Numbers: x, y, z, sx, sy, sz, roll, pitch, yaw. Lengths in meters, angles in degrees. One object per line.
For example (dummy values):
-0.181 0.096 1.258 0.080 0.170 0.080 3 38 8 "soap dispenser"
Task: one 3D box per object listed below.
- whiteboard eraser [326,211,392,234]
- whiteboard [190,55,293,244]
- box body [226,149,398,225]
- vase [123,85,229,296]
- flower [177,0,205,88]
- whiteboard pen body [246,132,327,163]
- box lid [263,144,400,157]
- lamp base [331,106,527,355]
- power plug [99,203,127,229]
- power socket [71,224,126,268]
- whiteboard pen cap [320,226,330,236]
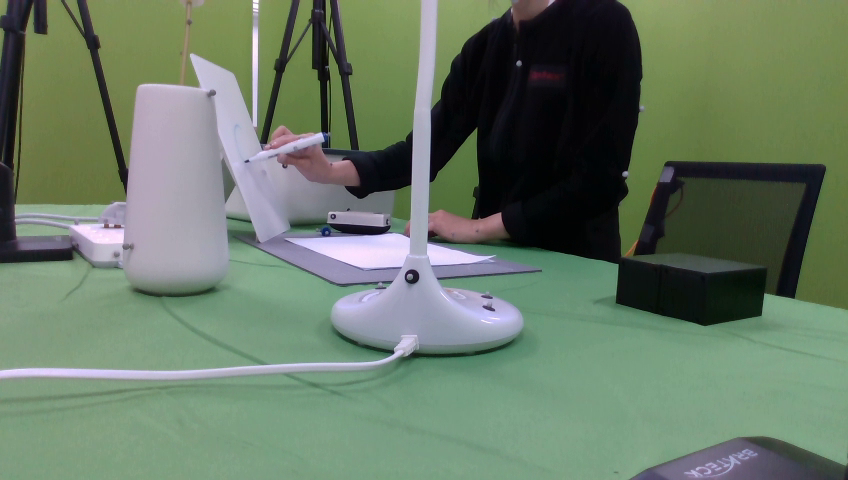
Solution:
-0.121 -0.033 1.131 0.112 0.042 0.056 4 8 13 "whiteboard eraser"
-0.362 -0.129 1.029 0.144 0.305 0.217 -18 7 3 "whiteboard"
-0.265 -0.129 1.380 0.253 0.160 0.366 8 9 39 "box body"
-0.244 -0.047 0.598 0.098 0.200 0.098 3 8 0 "vase"
-0.243 -0.131 0.609 0.044 0.361 0.038 -5 -12 12 "flower"
-0.228 -0.151 1.004 0.141 0.017 0.017 -21 13 -12 "whiteboard pen body"
-0.263 -0.203 1.369 0.262 0.015 0.373 9 10 39 "box lid"
0.006 -0.012 0.478 0.161 0.180 0.179 2 10 2 "lamp base"
-0.415 -0.026 0.848 0.073 0.052 0.035 6 5 -28 "power plug"
-0.409 0.004 0.793 0.072 0.032 0.225 -2 8 -37 "power socket"
-0.176 -0.016 1.075 0.018 0.018 0.033 1 5 -13 "whiteboard pen cap"
